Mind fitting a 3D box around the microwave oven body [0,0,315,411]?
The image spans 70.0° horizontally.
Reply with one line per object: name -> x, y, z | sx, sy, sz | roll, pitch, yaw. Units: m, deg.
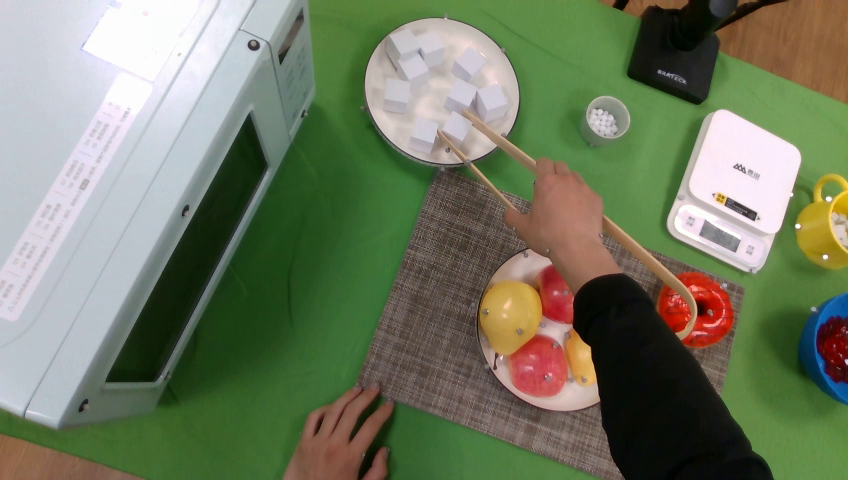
microwave oven body -> -0.352, -0.096, 0.608 | 0.326, 0.260, 0.440 | 24, 77, -3

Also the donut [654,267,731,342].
donut -> 0.347, 0.084, 0.788 | 0.099, 0.048, 0.098 | 1, 78, -5

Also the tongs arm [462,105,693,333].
tongs arm -> 0.161, -0.043, 0.695 | 0.028, 0.028, 0.383 | -37, 60, -8

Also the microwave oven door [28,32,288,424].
microwave oven door -> -0.235, 0.000, 0.601 | 0.039, 0.244, 0.354 | 24, 76, -3

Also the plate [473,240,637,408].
plate -> 0.162, 0.104, 0.760 | 0.209, 0.038, 0.208 | 2, 78, -8

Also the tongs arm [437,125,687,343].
tongs arm -> 0.139, -0.025, 0.693 | 0.051, 0.027, 0.381 | -36, 60, -4

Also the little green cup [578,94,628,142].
little green cup -> 0.242, -0.165, 0.830 | 0.062, 0.039, 0.061 | 2, 78, -8

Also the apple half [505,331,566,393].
apple half -> 0.139, 0.148, 0.738 | 0.081, 0.033, 0.081 | 3, 71, -10

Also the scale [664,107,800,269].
scale -> 0.430, -0.074, 0.843 | 0.149, 0.031, 0.200 | 26, 76, -2

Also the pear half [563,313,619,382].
pear half -> 0.209, 0.133, 0.754 | 0.070, 0.031, 0.087 | 20, 74, 10

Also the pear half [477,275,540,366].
pear half -> 0.102, 0.099, 0.729 | 0.077, 0.056, 0.109 | 16, 80, -14

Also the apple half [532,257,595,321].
apple half -> 0.176, 0.058, 0.753 | 0.075, 0.053, 0.080 | 10, 80, -3

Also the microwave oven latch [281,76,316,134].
microwave oven latch -> -0.162, -0.174, 0.752 | 0.030, 0.029, 0.079 | 26, 77, -3

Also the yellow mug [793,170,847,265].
yellow mug -> 0.574, -0.034, 0.839 | 0.100, 0.064, 0.130 | -11, 80, -10

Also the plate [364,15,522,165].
plate -> 0.024, -0.195, 0.804 | 0.208, 0.039, 0.206 | 2, 78, -8

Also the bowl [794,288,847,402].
bowl -> 0.546, 0.140, 0.794 | 0.152, 0.077, 0.150 | 2, 79, -8
